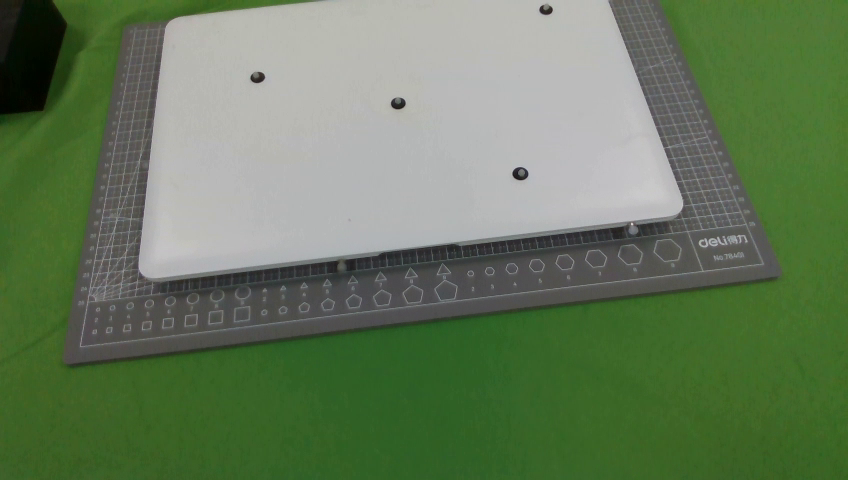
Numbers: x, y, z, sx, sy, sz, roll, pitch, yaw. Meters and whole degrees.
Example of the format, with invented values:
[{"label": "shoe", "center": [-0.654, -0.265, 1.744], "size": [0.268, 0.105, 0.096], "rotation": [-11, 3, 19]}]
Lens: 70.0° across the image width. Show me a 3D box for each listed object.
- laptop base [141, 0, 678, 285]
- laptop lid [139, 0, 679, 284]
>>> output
[{"label": "laptop base", "center": [-0.019, -0.090, 0.449], "size": [0.354, 0.023, 0.233], "rotation": [-7, 63, -3]}, {"label": "laptop lid", "center": [-0.019, -0.094, 0.438], "size": [0.357, 0.013, 0.239], "rotation": [-5, 62, -2]}]
